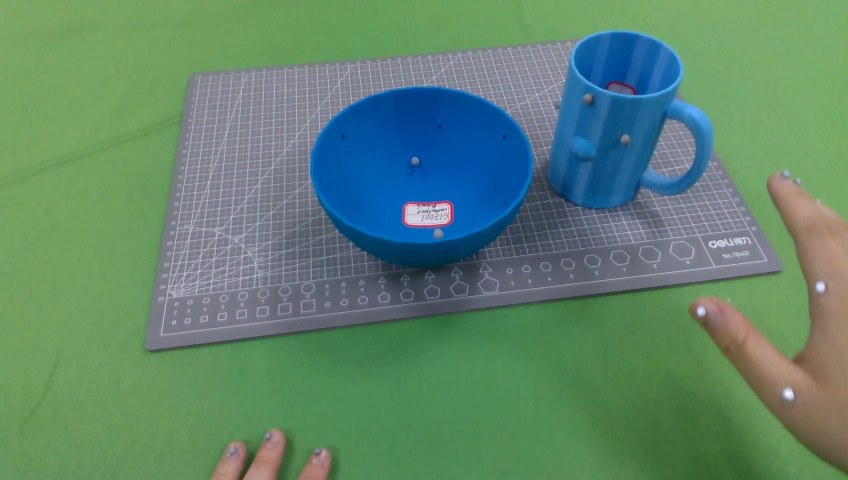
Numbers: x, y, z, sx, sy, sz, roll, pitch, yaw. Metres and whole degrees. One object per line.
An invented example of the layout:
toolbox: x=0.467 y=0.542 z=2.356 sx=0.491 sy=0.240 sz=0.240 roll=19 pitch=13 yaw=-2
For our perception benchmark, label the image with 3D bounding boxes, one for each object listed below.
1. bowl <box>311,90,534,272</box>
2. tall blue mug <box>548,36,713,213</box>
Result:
bowl: x=-0.001 y=-0.030 z=0.435 sx=0.151 sy=0.077 sz=0.150 roll=0 pitch=52 yaw=1
tall blue mug: x=0.154 y=-0.081 z=0.453 sx=0.107 sy=0.109 sz=0.077 roll=9 pitch=52 yaw=8
